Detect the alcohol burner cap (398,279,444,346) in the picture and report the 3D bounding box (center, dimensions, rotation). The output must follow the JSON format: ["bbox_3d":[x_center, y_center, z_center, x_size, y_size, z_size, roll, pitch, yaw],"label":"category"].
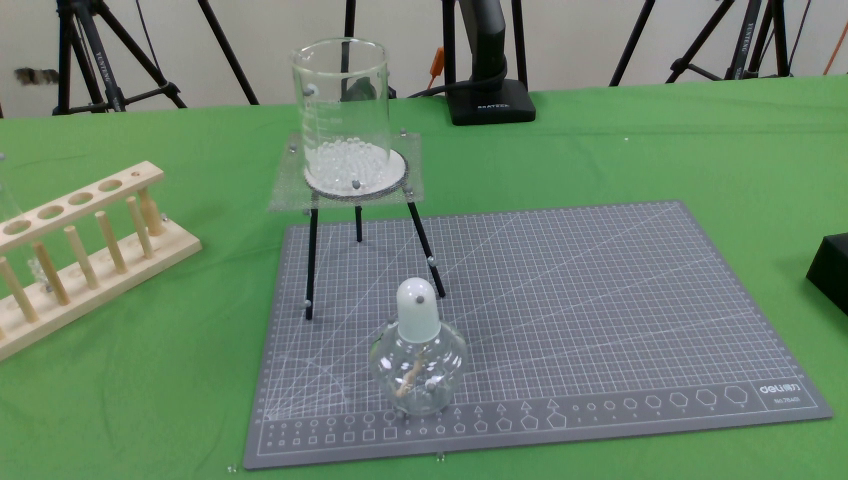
[{"bbox_3d":[-0.003,0.049,0.435,0.034,0.048,0.033,-3,38,3],"label":"alcohol burner cap"}]

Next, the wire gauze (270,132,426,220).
[{"bbox_3d":[-0.060,-0.060,0.511,0.121,0.011,0.124,-2,40,-1],"label":"wire gauze"}]

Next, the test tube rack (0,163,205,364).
[{"bbox_3d":[-0.338,0.022,0.567,0.066,0.086,0.242,28,47,32],"label":"test tube rack"}]

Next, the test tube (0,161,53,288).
[{"bbox_3d":[-0.363,-0.019,0.539,0.017,0.151,0.017,-3,33,2],"label":"test tube"}]

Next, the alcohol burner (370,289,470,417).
[{"bbox_3d":[-0.003,0.078,0.457,0.078,0.120,0.077,0,40,1],"label":"alcohol burner"}]

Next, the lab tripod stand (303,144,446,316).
[{"bbox_3d":[-0.051,-0.010,0.554,0.148,0.132,0.147,0,37,0],"label":"lab tripod stand"}]

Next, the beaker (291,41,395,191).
[{"bbox_3d":[-0.064,-0.097,0.479,0.083,0.101,0.074,24,43,28],"label":"beaker"}]
